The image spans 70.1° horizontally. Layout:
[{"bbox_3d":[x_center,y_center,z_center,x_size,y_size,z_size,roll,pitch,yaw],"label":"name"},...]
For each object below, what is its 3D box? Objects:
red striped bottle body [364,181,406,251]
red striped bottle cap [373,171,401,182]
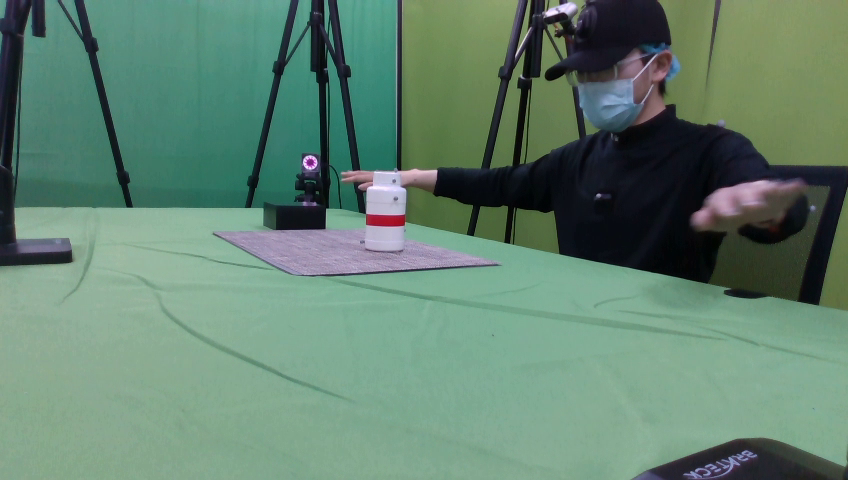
[{"bbox_3d":[-0.060,-0.046,0.943,0.063,0.119,0.063,3,7,0],"label":"red striped bottle body"},{"bbox_3d":[-0.058,-0.098,0.935,0.044,0.017,0.044,0,4,0],"label":"red striped bottle cap"}]
